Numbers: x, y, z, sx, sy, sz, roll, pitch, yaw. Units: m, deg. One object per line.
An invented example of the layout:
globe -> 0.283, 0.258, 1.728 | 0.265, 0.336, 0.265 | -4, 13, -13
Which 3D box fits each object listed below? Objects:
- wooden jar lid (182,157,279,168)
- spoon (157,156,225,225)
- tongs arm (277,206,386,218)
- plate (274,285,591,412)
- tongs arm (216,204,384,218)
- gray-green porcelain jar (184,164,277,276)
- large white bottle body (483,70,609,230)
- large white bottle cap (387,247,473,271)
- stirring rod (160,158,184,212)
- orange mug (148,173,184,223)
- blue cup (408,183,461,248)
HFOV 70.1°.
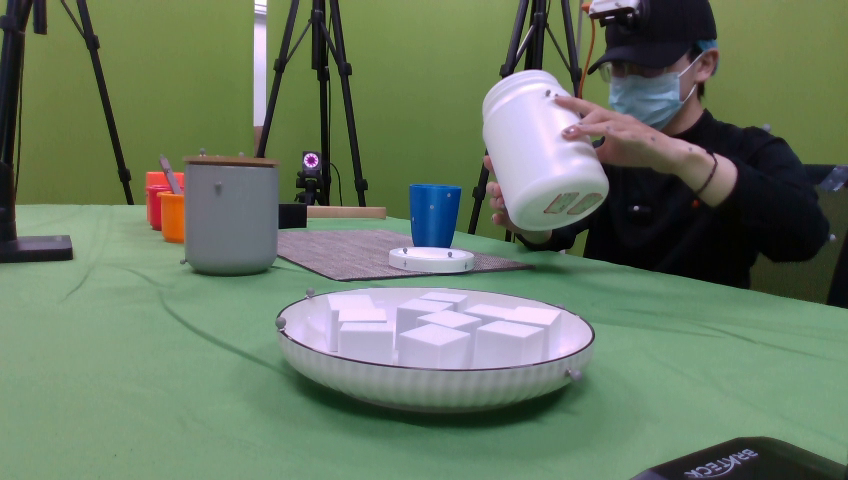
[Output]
wooden jar lid -> -0.227, -0.086, 0.714 | 0.108, 0.020, 0.108 | 1, 6, 0
spoon -> -0.425, -0.094, 1.117 | 0.041, 0.022, 0.194 | 5, 51, 29
tongs arm -> -0.251, -0.063, 1.360 | 0.387, 0.026, 0.050 | -1, 3, -31
plate -> 0.005, 0.069, 0.408 | 0.208, 0.039, 0.207 | 2, 7, 0
tongs arm -> -0.288, -0.069, 1.435 | 0.389, 0.027, 0.028 | 0, -1, -17
gray-green porcelain jar -> -0.230, -0.025, 0.722 | 0.106, 0.126, 0.106 | 3, 7, 0
large white bottle body -> 0.153, -0.121, 0.803 | 0.131, 0.184, 0.130 | -12, -26, -5
large white bottle cap -> 0.009, 0.024, 0.804 | 0.115, 0.018, 0.115 | 2, 7, 0
stirring rod -> -0.391, -0.070, 0.972 | 0.014, 0.006, 0.175 | -1, 50, -49
orange mug -> -0.490, -0.087, 1.222 | 0.127, 0.101, 0.083 | -9, 13, -38
blue cup -> 0.015, -0.038, 0.970 | 0.093, 0.100, 0.092 | 2, 9, 0
